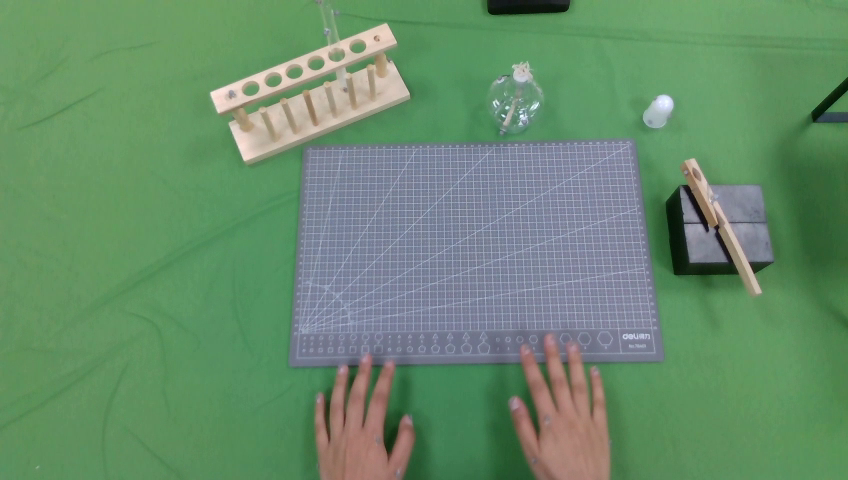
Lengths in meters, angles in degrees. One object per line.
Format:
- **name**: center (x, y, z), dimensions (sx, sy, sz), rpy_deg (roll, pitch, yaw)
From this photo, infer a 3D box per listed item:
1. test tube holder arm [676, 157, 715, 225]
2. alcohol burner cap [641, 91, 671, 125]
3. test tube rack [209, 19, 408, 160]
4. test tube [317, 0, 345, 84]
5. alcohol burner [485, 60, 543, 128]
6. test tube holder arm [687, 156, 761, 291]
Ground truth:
- **test tube holder arm**: center (0.331, -0.060, 0.733), dimensions (0.010, 0.015, 0.087), rpy_deg (-19, 73, -7)
- **alcohol burner cap**: center (0.313, -0.179, 0.812), dimensions (0.034, 0.048, 0.033), rpy_deg (-1, 71, 2)
- **test tube rack**: center (-0.146, -0.198, 0.802), dimensions (0.242, 0.086, 0.066), rpy_deg (-24, 72, -7)
- **test tube**: center (-0.115, -0.250, 0.767), dimensions (0.017, 0.151, 0.017), rpy_deg (-1, 65, 2)
- **alcohol burner**: center (0.119, -0.196, 0.783), dimensions (0.078, 0.120, 0.077), rpy_deg (0, 72, 0)
- **test tube holder arm**: center (0.353, -0.022, 0.722), dimensions (0.013, 0.015, 0.177), rpy_deg (-21, 74, -8)
